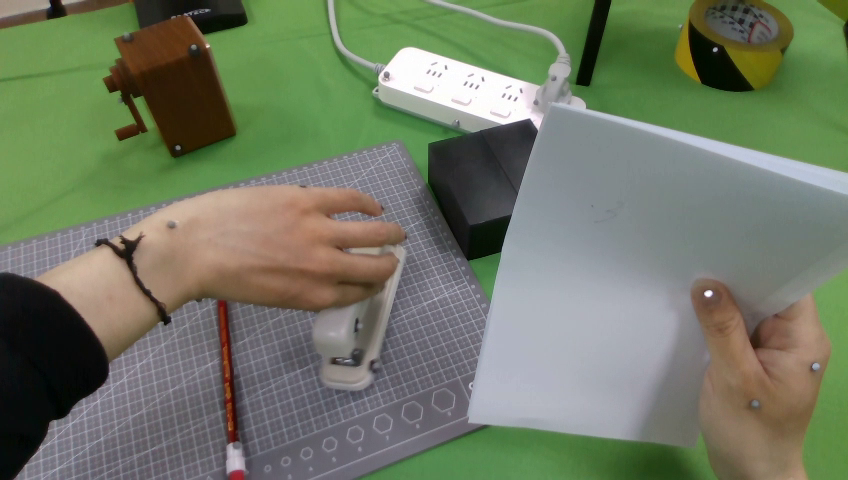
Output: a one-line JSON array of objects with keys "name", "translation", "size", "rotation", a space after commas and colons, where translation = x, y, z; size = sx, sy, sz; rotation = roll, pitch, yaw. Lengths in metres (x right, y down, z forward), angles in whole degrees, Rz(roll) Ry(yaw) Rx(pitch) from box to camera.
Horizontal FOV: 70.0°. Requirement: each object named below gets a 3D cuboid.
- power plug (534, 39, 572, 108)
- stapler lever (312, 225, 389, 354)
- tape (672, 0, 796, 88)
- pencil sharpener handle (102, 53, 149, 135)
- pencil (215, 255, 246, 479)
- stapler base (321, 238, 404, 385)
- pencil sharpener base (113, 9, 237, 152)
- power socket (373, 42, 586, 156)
[{"name": "power plug", "translation": [0.136, -0.156, 0.598], "size": [0.035, 0.053, 0.072], "rotation": [30, 60, 20]}, {"name": "stapler lever", "translation": [-0.053, 0.030, 0.453], "size": [0.027, 0.040, 0.117], "rotation": [4, 54, 12]}, {"name": "tape", "translation": [0.341, -0.225, 0.669], "size": [0.117, 0.053, 0.115], "rotation": [1, 54, 0]}, {"name": "pencil sharpener handle", "translation": [-0.272, -0.128, 0.538], "size": [0.030, 0.068, 0.035], "rotation": [-28, 36, -19]}, {"name": "pencil", "translation": [-0.148, 0.086, 0.457], "size": [0.012, 0.012, 0.192], "rotation": [-13, 54, -9]}, {"name": "stapler base", "translation": [-0.049, 0.047, 0.472], "size": [0.041, 0.025, 0.129], "rotation": [4, 54, 12]}, {"name": "pencil sharpener base", "translation": [-0.232, -0.146, 0.569], "size": [0.077, 0.108, 0.061], "rotation": [-28, 59, -19]}, {"name": "power socket", "translation": [0.057, -0.147, 0.620], "size": [0.226, 0.033, 0.072], "rotation": [22, 56, 15]}]
